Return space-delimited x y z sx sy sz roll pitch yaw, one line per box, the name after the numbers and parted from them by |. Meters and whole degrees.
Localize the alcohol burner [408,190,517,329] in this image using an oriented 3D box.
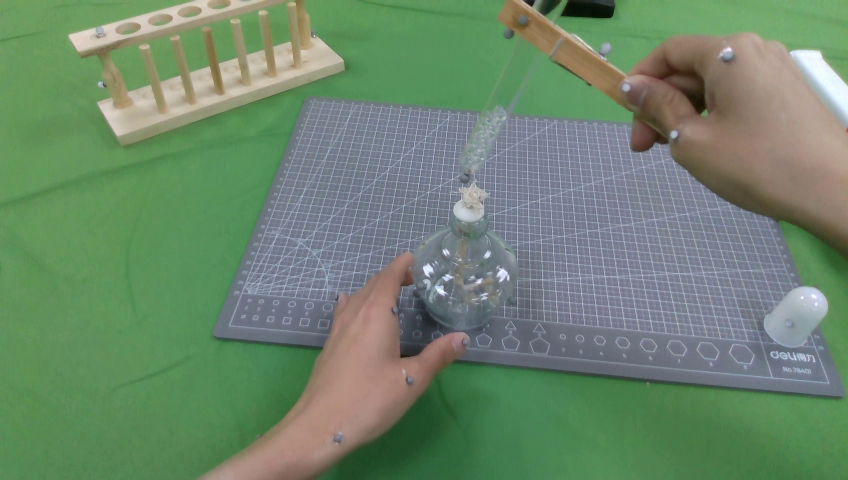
0.028 0.009 0.422 0.078 0.120 0.077 1 50 0 | alcohol burner

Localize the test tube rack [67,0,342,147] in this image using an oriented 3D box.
-0.206 -0.185 0.608 0.242 0.086 0.066 -27 55 -24 | test tube rack

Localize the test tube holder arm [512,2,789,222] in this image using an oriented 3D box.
0.113 -0.071 0.320 0.177 0.015 0.013 40 35 10 | test tube holder arm

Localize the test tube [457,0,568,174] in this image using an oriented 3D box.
0.054 -0.101 0.335 0.017 0.151 0.017 20 29 -11 | test tube

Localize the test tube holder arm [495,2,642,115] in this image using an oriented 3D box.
0.076 -0.097 0.322 0.087 0.015 0.010 36 34 4 | test tube holder arm

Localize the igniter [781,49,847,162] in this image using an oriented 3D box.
0.384 -0.091 0.529 0.057 0.025 0.273 0 46 1 | igniter

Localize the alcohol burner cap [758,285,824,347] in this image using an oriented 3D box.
0.270 0.053 0.443 0.034 0.048 0.033 2 47 -2 | alcohol burner cap
